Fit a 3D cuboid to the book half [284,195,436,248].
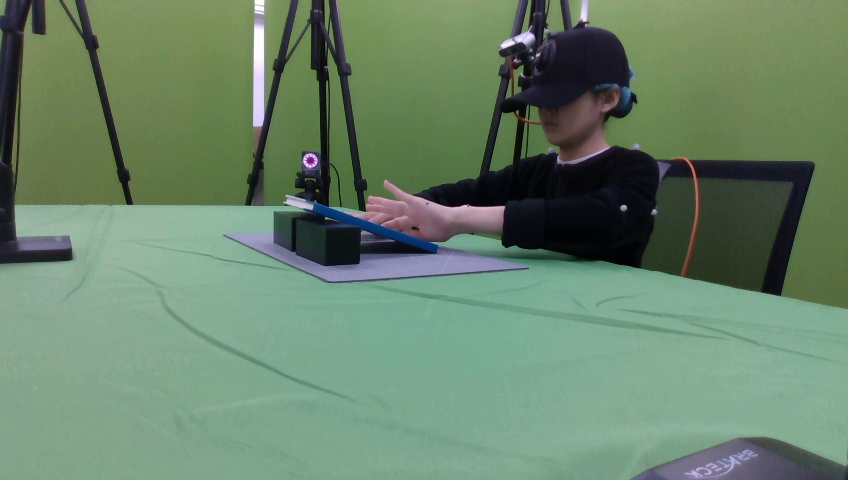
[{"bbox_3d":[-0.100,-0.028,0.934,0.211,0.007,0.142,19,-1,-29],"label":"book half"}]
